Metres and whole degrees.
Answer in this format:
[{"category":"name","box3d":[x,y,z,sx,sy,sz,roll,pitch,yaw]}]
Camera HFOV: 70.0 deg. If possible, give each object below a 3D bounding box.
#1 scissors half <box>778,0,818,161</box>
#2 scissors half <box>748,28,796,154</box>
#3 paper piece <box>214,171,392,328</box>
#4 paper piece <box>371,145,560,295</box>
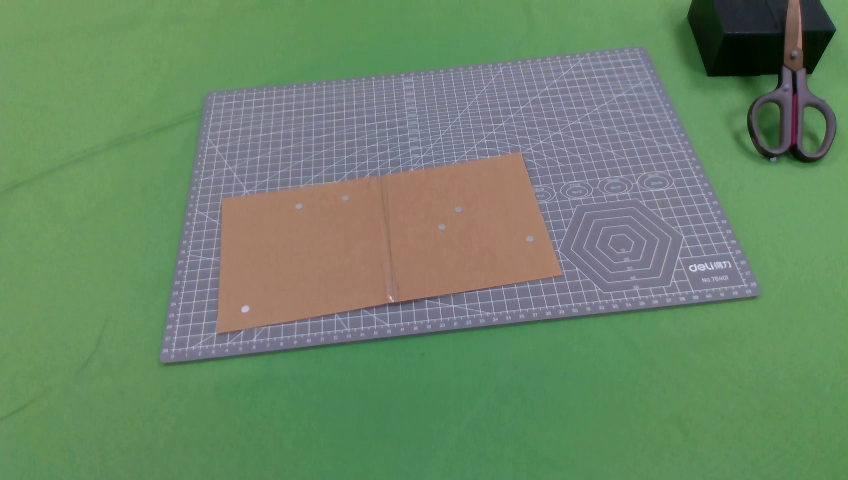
[{"category":"scissors half","box3d":[0.335,-0.157,0.545,0.040,0.013,0.175,1,86,-16]},{"category":"scissors half","box3d":[0.316,-0.160,0.539,0.040,0.013,0.174,19,80,-19]},{"category":"paper piece","box3d":[-0.102,0.001,0.496,0.138,0.009,0.134,-9,51,-2]},{"category":"paper piece","box3d":[0.029,-0.021,0.502,0.136,0.004,0.134,-9,54,-3]}]
